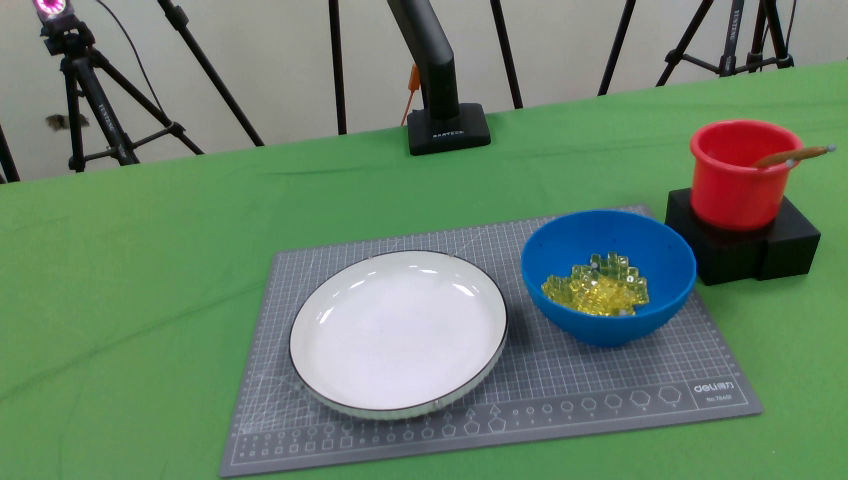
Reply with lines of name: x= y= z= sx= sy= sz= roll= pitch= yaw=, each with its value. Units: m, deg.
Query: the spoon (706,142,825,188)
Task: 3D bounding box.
spoon: x=0.300 y=-0.067 z=0.542 sx=0.041 sy=0.021 sz=0.194 roll=-2 pitch=-5 yaw=7

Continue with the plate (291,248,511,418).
plate: x=-0.020 y=0.086 z=0.581 sx=0.207 sy=0.039 sz=0.205 roll=-6 pitch=38 yaw=5

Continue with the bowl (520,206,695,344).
bowl: x=0.166 y=0.043 z=0.562 sx=0.151 sy=0.077 sz=0.150 roll=-6 pitch=38 yaw=5
